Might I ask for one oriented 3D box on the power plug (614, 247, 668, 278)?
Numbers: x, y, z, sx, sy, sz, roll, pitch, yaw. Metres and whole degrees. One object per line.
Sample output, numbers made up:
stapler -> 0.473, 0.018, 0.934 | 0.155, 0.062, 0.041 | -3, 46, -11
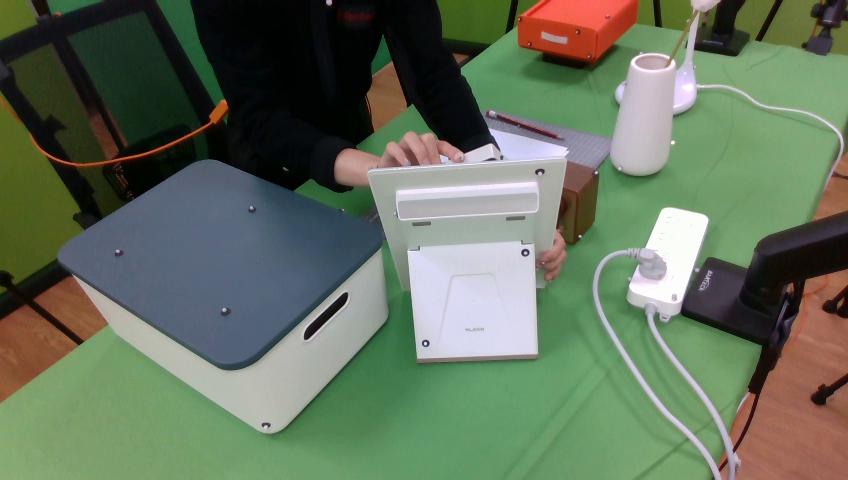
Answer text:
power plug -> 0.306, 0.031, 0.851 | 0.072, 0.053, 0.035 | 24, 49, 33

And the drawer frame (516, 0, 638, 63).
drawer frame -> 0.355, -0.508, 1.410 | 0.200, 0.083, 0.214 | 23, 51, 32

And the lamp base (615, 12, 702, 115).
lamp base -> 0.484, -0.363, 1.211 | 0.180, 0.181, 0.159 | -15, 41, -14

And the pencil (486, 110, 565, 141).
pencil -> 0.203, -0.232, 1.226 | 0.192, 0.012, 0.012 | 29, 52, 33

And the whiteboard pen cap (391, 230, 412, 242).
whiteboard pen cap -> -0.036, -0.006, 0.980 | 0.033, 0.018, 0.018 | 8, 43, 17

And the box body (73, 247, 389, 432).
box body -> -0.255, 0.065, 0.827 | 0.361, 0.161, 0.255 | 21, 48, 29

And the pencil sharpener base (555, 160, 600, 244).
pencil sharpener base -> 0.228, -0.057, 0.945 | 0.061, 0.107, 0.077 | 24, 50, 31

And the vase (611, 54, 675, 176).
vase -> 0.377, -0.209, 1.031 | 0.098, 0.201, 0.097 | -3, 40, 3

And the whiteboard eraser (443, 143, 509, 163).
whiteboard eraser -> 0.045, -0.070, 0.704 | 0.112, 0.056, 0.041 | -18, 66, 29

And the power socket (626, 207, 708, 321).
power socket -> 0.359, 0.025, 0.886 | 0.072, 0.033, 0.227 | 16, 46, 26

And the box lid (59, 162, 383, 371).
box lid -> -0.262, 0.010, 0.777 | 0.369, 0.015, 0.264 | 21, 48, 29

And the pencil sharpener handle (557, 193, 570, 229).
pencil sharpener handle -> 0.195, -0.038, 0.908 | 0.035, 0.068, 0.031 | 24, 50, 31

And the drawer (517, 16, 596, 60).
drawer -> 0.353, -0.506, 1.405 | 0.193, 0.073, 0.212 | 23, 49, 32

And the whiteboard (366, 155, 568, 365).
whiteboard -> 0.059, 0.050, 0.738 | 0.217, 0.307, 0.143 | -3, 60, 5

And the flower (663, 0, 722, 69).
flower -> 0.379, -0.261, 0.965 | 0.044, 0.362, 0.038 | 20, 53, 5

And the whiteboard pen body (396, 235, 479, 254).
whiteboard pen body -> 0.019, 0.006, 0.965 | 0.140, 0.017, 0.017 | 9, 43, 19
